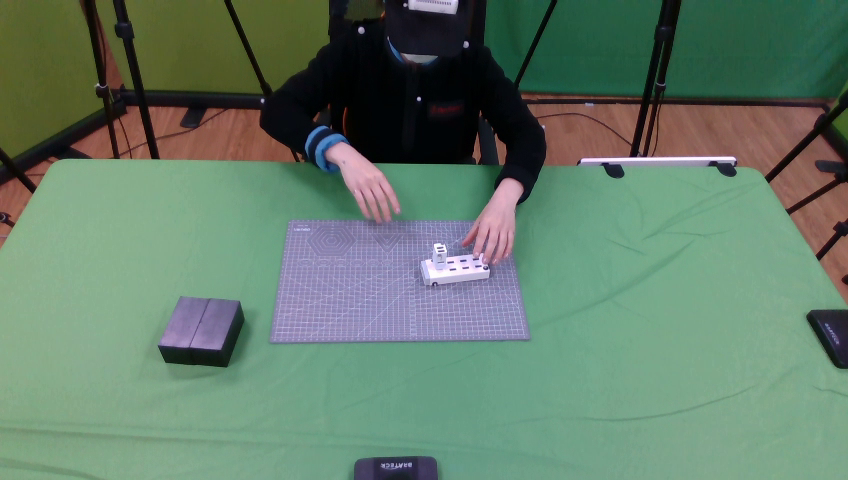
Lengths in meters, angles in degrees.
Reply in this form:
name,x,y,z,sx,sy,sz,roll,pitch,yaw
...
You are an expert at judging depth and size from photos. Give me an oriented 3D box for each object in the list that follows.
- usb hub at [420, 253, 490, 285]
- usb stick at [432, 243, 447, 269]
name,x,y,z,sx,sy,sz,roll,pitch,yaw
usb hub,0.059,0.055,1.142,0.125,0.025,0.049,-7,47,-10
usb stick,0.028,0.034,1.116,0.021,0.059,0.027,-8,50,-11
